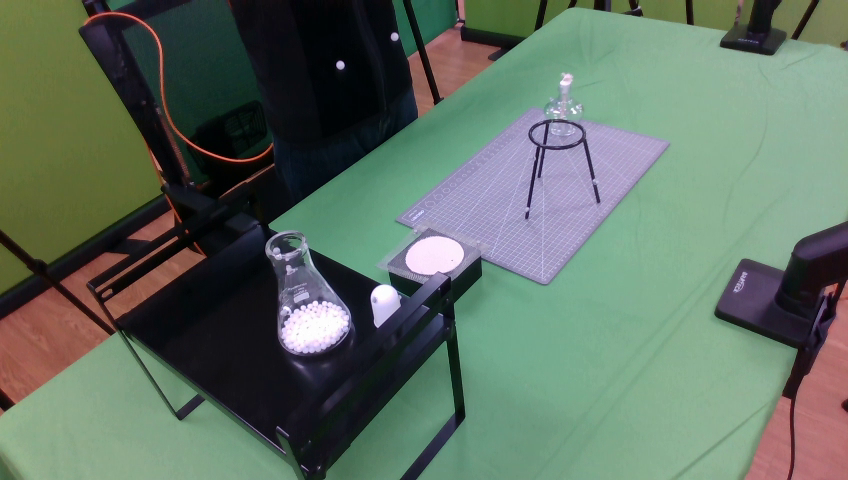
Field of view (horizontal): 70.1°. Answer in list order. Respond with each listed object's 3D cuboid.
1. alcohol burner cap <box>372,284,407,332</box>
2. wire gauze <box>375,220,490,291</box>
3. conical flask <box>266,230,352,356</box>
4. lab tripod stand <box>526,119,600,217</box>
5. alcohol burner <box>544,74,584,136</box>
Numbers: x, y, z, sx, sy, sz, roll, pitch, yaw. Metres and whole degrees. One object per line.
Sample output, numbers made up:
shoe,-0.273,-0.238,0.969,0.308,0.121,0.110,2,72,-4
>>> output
alcohol burner cap,-0.036,0.066,0.608,0.034,0.048,0.033,-5,38,5
wire gauze,0.012,0.022,0.882,0.120,0.011,0.125,22,47,33
conical flask,-0.116,0.047,0.580,0.075,0.122,0.075,-5,40,4
lab tripod stand,0.220,-0.122,0.995,0.148,0.132,0.147,-3,39,3
alcohol burner,0.270,-0.263,1.169,0.078,0.119,0.077,-6,40,5
